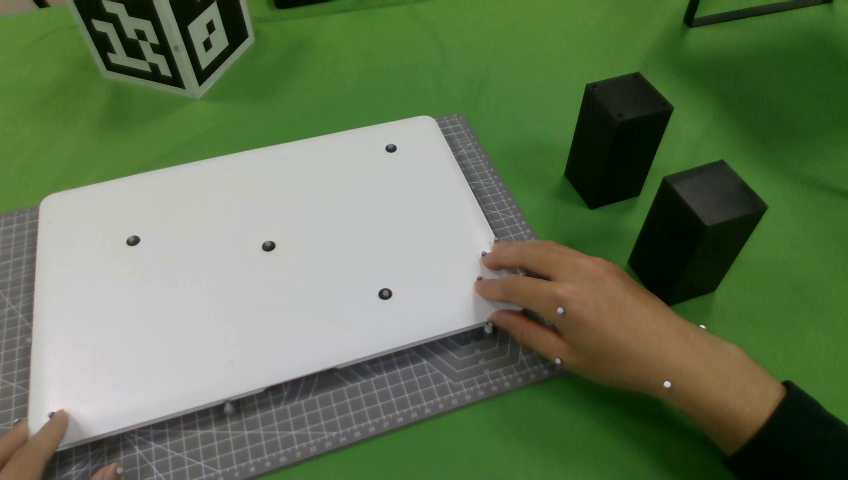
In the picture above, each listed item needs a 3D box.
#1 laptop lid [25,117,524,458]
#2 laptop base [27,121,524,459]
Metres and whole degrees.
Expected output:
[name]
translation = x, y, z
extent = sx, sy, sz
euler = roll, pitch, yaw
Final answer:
[laptop lid]
translation = -0.123, 0.010, 0.483
extent = 0.357, 0.013, 0.239
euler = -13, 54, -11
[laptop base]
translation = -0.124, 0.016, 0.494
extent = 0.355, 0.023, 0.233
euler = -15, 56, -12
